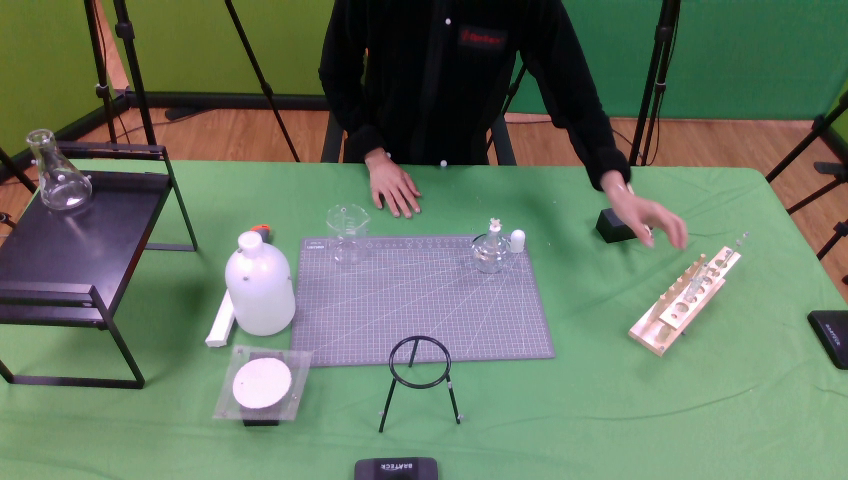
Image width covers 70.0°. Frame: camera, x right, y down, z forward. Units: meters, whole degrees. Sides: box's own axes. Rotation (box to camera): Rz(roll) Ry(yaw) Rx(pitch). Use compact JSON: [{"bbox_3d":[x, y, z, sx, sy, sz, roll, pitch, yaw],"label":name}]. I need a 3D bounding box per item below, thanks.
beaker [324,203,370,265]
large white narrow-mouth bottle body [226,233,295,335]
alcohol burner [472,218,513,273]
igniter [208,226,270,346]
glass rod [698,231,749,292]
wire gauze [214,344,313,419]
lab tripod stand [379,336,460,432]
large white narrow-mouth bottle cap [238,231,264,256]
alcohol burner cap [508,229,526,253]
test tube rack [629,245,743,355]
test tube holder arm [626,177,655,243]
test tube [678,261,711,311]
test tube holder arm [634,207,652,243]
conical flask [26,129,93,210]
[{"bbox_3d":[-0.142,-0.009,1.137,0.084,0.101,0.073,-3,47,-7],"label":"beaker"},{"bbox_3d":[-0.270,0.065,0.995,0.102,0.195,0.101,2,46,-2],"label":"large white narrow-mouth bottle body"},{"bbox_3d":[0.128,0.005,1.132,0.078,0.120,0.077,0,47,0],"label":"alcohol burner"},{"bbox_3d":[-0.331,0.073,1.099,0.057,0.025,0.275,-4,45,10],"label":"igniter"},{"bbox_3d":[0.514,0.044,1.051,0.008,0.200,0.008,1,55,-1],"label":"glass rod"},{"bbox_3d":[-0.241,0.213,0.915,0.121,0.011,0.124,5,46,1],"label":"wire gauze"},{"bbox_3d":[-0.010,0.214,0.911,0.148,0.132,0.147,1,45,-1],"label":"lab tripod stand"},{"bbox_3d":[-0.266,0.006,0.932,0.038,0.024,0.037,2,46,-2],"label":"large white narrow-mouth bottle cap"},{"bbox_3d":[0.185,-0.002,1.192,0.034,0.048,0.033,3,46,-3],"label":"alcohol burner cap"},{"bbox_3d":[0.474,0.095,1.091,0.242,0.085,0.066,-34,56,-31],"label":"test tube rack"},{"bbox_3d":[0.434,-0.063,1.220,0.013,0.015,0.177,3,47,-4],"label":"test tube holder arm"},{"bbox_3d":[0.452,0.090,1.025,0.017,0.151,0.017,1,46,0],"label":"test tube"},{"bbox_3d":[0.429,-0.030,1.189,0.010,0.015,0.087,4,47,-4],"label":"test tube holder arm"},{"bbox_3d":[-0.575,-0.113,0.946,0.075,0.122,0.075,2,46,-2],"label":"conical flask"}]
